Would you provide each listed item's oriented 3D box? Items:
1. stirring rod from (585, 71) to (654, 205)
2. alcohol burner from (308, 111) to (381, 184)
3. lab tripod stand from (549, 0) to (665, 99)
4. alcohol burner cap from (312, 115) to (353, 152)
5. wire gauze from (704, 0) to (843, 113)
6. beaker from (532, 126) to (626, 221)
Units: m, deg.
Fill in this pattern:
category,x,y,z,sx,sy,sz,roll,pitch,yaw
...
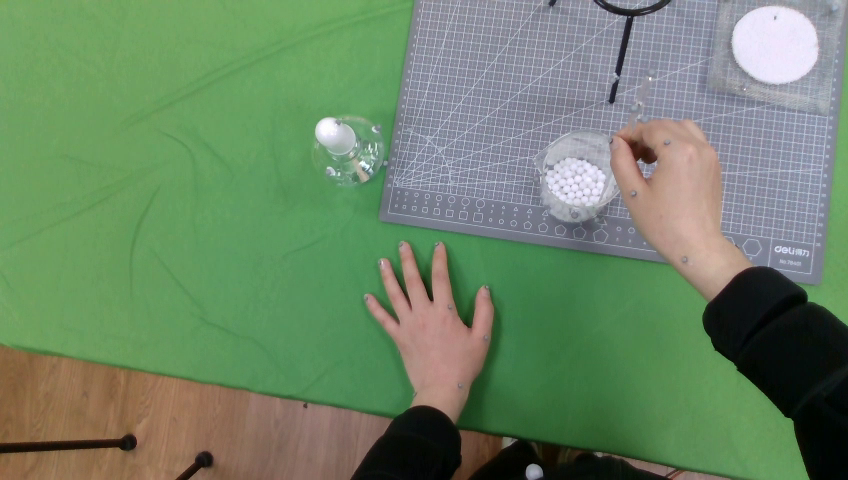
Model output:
category,x,y,z,sx,sy,sz,roll,pitch,yaw
stirring rod,0.158,-0.077,0.504,0.014,0.177,0.006,19,65,12
alcohol burner,-0.085,-0.099,0.617,0.078,0.119,0.077,-1,81,6
lab tripod stand,0.188,-0.228,0.583,0.148,0.132,0.148,-1,85,6
alcohol burner cap,-0.091,-0.104,0.582,0.034,0.048,0.034,0,87,7
wire gauze,0.358,-0.201,0.622,0.125,0.011,0.121,13,85,6
beaker,0.144,-0.060,0.588,0.084,0.100,0.074,15,85,10
